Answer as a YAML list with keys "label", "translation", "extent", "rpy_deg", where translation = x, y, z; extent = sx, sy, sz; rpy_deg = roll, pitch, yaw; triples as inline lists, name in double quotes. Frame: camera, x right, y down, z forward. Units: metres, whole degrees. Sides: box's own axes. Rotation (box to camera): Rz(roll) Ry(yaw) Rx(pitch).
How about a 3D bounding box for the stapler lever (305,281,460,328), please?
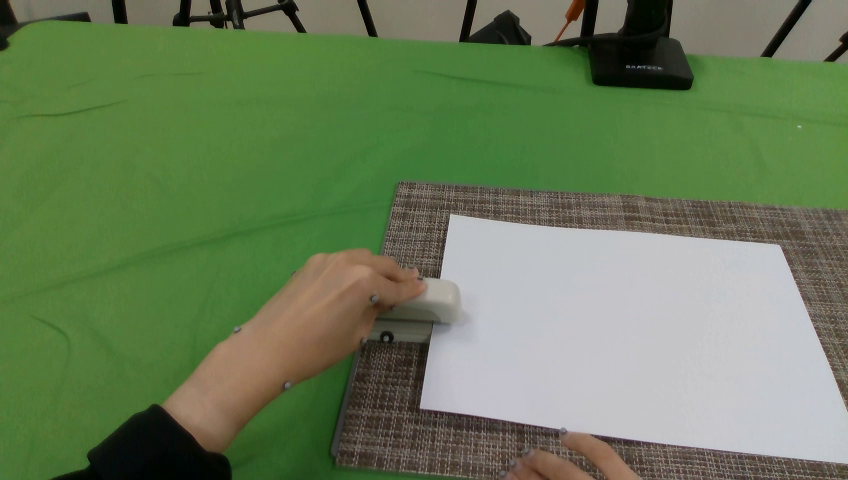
- label: "stapler lever"
  translation: [-0.030, 0.047, 0.464]
  extent: [0.118, 0.040, 0.026]
  rpy_deg: [8, 42, -1]

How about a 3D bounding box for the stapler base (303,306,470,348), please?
- label: "stapler base"
  translation: [-0.029, 0.059, 0.476]
  extent: [0.130, 0.024, 0.041]
  rpy_deg: [2, 41, 5]
